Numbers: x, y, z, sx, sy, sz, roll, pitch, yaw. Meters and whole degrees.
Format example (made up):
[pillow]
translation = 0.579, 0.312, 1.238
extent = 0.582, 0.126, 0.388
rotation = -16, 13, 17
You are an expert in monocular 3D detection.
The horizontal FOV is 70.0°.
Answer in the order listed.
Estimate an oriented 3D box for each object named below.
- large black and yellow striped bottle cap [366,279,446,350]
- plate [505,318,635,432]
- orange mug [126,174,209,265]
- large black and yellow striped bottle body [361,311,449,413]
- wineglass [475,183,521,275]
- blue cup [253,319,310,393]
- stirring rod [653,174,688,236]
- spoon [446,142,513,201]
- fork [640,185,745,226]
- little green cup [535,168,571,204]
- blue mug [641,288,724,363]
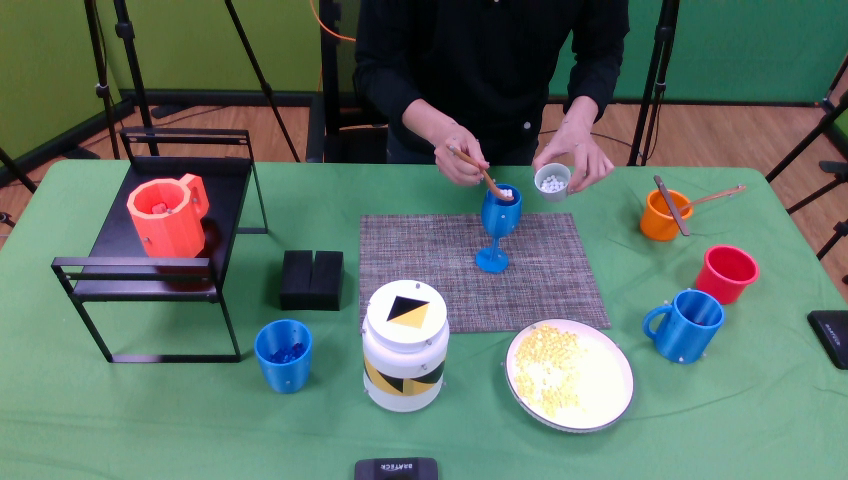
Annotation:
[large black and yellow striped bottle cap]
translation = -0.025, 0.104, 0.864
extent = 0.115, 0.019, 0.114
rotation = 3, 48, -3
[plate]
translation = 0.235, 0.221, 0.991
extent = 0.209, 0.038, 0.208
rotation = 2, 45, -2
[orange mug]
translation = -0.371, -0.039, 0.902
extent = 0.083, 0.101, 0.126
rotation = 18, 51, 14
[large black and yellow striped bottle body]
translation = -0.031, 0.163, 0.924
extent = 0.131, 0.185, 0.130
rotation = 2, 46, -2
[wineglass]
translation = 0.134, -0.020, 1.115
extent = 0.074, 0.173, 0.073
rotation = 2, 46, -2
[blue cup]
translation = -0.217, 0.187, 0.943
extent = 0.093, 0.101, 0.092
rotation = 3, 45, -3
[stirring rod]
translation = 0.491, -0.072, 1.211
extent = 0.014, 0.006, 0.175
rotation = -1, 47, -5
[spoon]
translation = 0.091, -0.111, 0.978
extent = 0.021, 0.195, 0.041
rotation = -46, 47, 6
[fork]
translation = 0.534, -0.069, 1.215
extent = 0.207, 0.019, 0.028
rotation = -26, 27, 33
[little green cup]
translation = 0.223, -0.093, 1.050
extent = 0.061, 0.039, 0.061
rotation = -6, 38, 4
[blue mug]
translation = 0.432, 0.144, 1.033
extent = 0.116, 0.106, 0.082
rotation = 9, 46, 4
